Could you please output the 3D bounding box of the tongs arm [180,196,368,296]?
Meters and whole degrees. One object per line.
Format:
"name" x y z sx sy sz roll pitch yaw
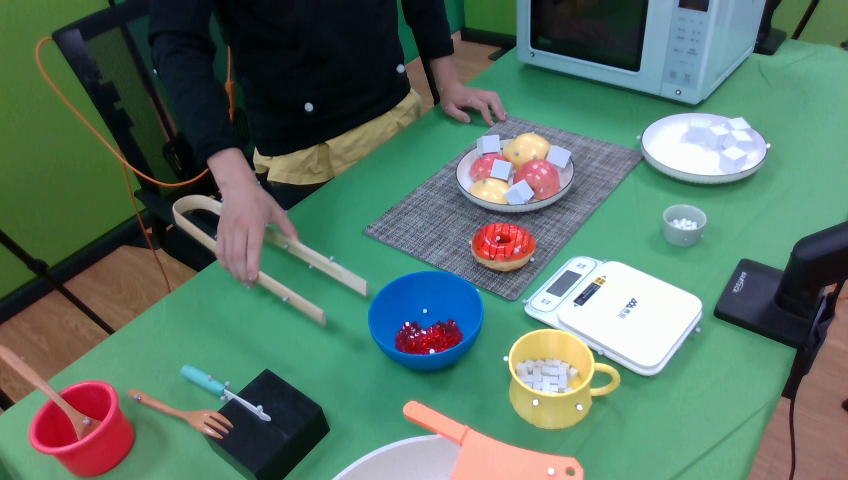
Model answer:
"tongs arm" -0.240 0.005 0.921 0.382 0.026 0.051 26 44 31

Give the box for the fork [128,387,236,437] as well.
"fork" -0.305 0.207 0.744 0.206 0.019 0.028 3 41 36

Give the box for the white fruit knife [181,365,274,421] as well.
"white fruit knife" -0.246 0.188 0.747 0.205 0.027 0.016 9 41 41

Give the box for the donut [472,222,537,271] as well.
"donut" 0.123 0.009 0.923 0.099 0.048 0.098 -3 38 3

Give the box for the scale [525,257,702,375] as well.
"scale" 0.254 0.091 0.821 0.199 0.032 0.149 28 51 35

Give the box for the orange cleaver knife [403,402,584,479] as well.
"orange cleaver knife" 0.062 0.222 0.609 0.210 0.012 0.077 15 48 25

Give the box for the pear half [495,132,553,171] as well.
"pear half" 0.174 -0.167 1.094 0.109 0.056 0.076 15 53 30

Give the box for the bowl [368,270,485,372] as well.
"bowl" 0.007 0.118 0.791 0.151 0.077 0.150 -5 40 4

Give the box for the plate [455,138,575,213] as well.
"plate" 0.159 -0.111 1.063 0.209 0.038 0.208 -4 40 4

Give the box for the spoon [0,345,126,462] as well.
"spoon" -0.434 0.192 0.720 0.194 0.021 0.042 47 53 -7

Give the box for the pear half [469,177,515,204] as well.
"pear half" 0.115 -0.090 1.036 0.087 0.031 0.071 29 39 32

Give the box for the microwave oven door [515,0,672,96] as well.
"microwave oven door" 0.343 -0.454 1.259 0.353 0.245 0.039 26 51 33

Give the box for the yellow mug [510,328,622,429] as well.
"yellow mug" 0.168 0.164 0.721 0.130 0.064 0.099 0 40 8

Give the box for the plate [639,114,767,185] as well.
"plate" 0.489 -0.157 1.074 0.207 0.039 0.206 -4 40 4

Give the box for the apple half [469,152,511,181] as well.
"apple half" 0.120 -0.138 1.087 0.081 0.033 0.081 -1 45 1

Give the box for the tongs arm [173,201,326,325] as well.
"tongs arm" -0.270 0.026 0.891 0.384 0.028 0.028 28 48 33

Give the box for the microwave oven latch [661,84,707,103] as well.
"microwave oven latch" 0.517 -0.296 1.204 0.078 0.029 0.030 27 52 35

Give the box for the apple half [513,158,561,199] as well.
"apple half" 0.193 -0.111 1.031 0.080 0.053 0.075 11 41 26

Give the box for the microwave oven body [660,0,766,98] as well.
"microwave oven body" 0.472 -0.513 1.317 0.438 0.261 0.327 26 51 34

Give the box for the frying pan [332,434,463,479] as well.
"frying pan" -0.089 0.306 0.564 0.487 0.103 0.306 10 41 7

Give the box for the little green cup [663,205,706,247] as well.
"little green cup" 0.396 -0.020 0.926 0.061 0.039 0.061 -4 40 4
